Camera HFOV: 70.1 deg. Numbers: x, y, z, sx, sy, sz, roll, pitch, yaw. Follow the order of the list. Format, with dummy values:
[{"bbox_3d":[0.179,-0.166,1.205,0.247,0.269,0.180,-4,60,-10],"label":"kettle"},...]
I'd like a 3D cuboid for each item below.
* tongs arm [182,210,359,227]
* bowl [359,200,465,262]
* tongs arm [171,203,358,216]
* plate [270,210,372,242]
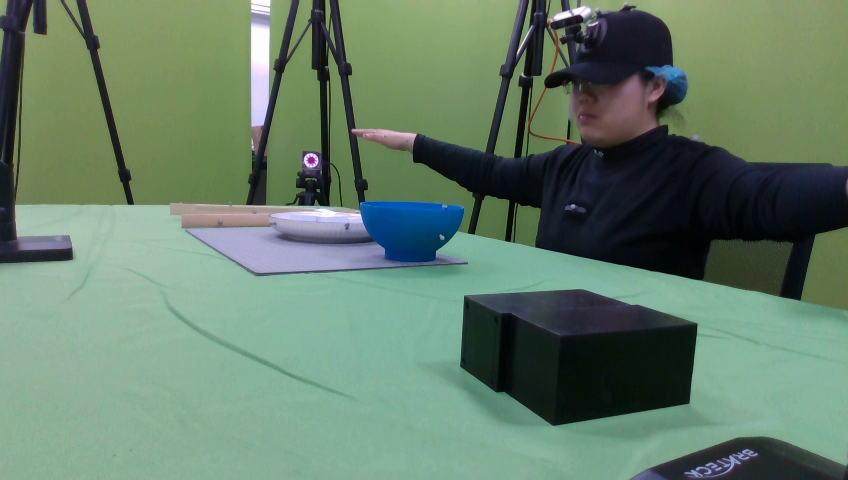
[{"bbox_3d":[-0.291,-0.044,1.225,0.390,0.028,0.028,-3,6,-38],"label":"tongs arm"},{"bbox_3d":[-0.018,-0.013,0.859,0.151,0.077,0.151,2,7,0],"label":"bowl"},{"bbox_3d":[-0.331,-0.058,1.295,0.387,0.026,0.050,0,8,-25],"label":"tongs arm"},{"bbox_3d":[-0.161,-0.024,1.054,0.208,0.039,0.207,2,7,0],"label":"plate"}]
